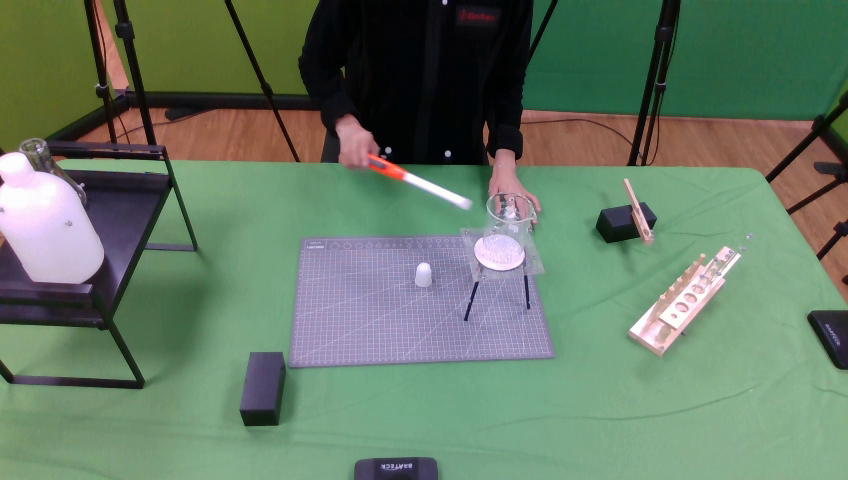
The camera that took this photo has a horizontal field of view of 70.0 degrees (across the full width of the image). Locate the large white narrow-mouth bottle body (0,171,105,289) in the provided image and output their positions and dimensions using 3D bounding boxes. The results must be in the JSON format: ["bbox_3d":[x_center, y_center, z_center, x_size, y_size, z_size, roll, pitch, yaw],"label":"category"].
[{"bbox_3d":[-0.513,-0.029,0.818,0.102,0.195,0.101,2,46,-2],"label":"large white narrow-mouth bottle body"}]

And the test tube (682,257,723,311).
[{"bbox_3d":[0.475,0.080,1.037,0.017,0.151,0.017,1,51,-1],"label":"test tube"}]

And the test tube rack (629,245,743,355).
[{"bbox_3d":[0.474,0.095,1.091,0.242,0.085,0.066,-34,56,-31],"label":"test tube rack"}]

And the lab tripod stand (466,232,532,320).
[{"bbox_3d":[0.125,0.059,1.065,0.148,0.132,0.147,1,45,0],"label":"lab tripod stand"}]

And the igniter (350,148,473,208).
[{"bbox_3d":[-0.032,-0.116,1.096,0.275,0.057,0.025,26,91,29],"label":"igniter"}]

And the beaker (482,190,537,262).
[{"bbox_3d":[0.136,-0.019,0.983,0.084,0.101,0.073,17,47,14],"label":"beaker"}]

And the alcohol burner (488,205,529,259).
[{"bbox_3d":[0.163,-0.020,1.158,0.078,0.120,0.077,1,47,0],"label":"alcohol burner"}]

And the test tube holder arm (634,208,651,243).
[{"bbox_3d":[0.428,-0.030,1.189,0.010,0.015,0.087,1,47,-2],"label":"test tube holder arm"}]

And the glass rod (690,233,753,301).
[{"bbox_3d":[0.507,0.053,1.041,0.008,0.200,0.008,5,51,-6],"label":"glass rod"}]

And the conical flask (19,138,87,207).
[{"bbox_3d":[-0.576,-0.097,0.930,0.075,0.122,0.075,2,46,-2],"label":"conical flask"}]

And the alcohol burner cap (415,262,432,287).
[{"bbox_3d":[0.000,0.061,1.119,0.034,0.048,0.033,3,44,-2],"label":"alcohol burner cap"}]

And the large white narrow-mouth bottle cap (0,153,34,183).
[{"bbox_3d":[-0.510,-0.090,0.754,0.038,0.024,0.037,2,46,-2],"label":"large white narrow-mouth bottle cap"}]

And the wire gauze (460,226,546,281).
[{"bbox_3d":[0.130,0.017,1.016,0.121,0.011,0.124,-4,43,-9],"label":"wire gauze"}]

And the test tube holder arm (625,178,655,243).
[{"bbox_3d":[0.433,-0.063,1.220,0.013,0.015,0.177,1,47,-3],"label":"test tube holder arm"}]
